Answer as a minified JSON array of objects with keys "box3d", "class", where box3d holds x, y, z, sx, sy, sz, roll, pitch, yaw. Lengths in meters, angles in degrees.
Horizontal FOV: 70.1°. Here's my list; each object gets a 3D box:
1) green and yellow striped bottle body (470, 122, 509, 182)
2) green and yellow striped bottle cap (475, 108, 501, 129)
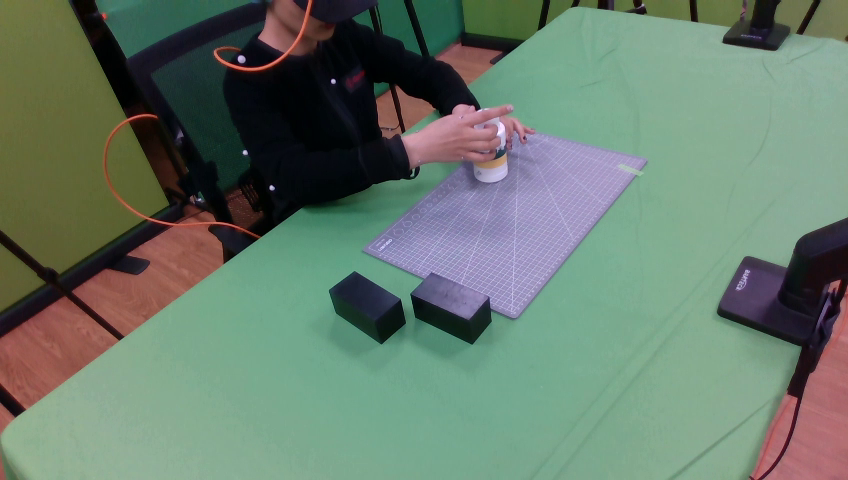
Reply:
[{"box3d":[0.117,-0.168,1.078,0.063,0.120,0.063,-6,40,5],"class":"green and yellow striped bottle body"},{"box3d":[0.110,-0.210,1.043,0.045,0.020,0.045,-6,41,5],"class":"green and yellow striped bottle cap"}]
